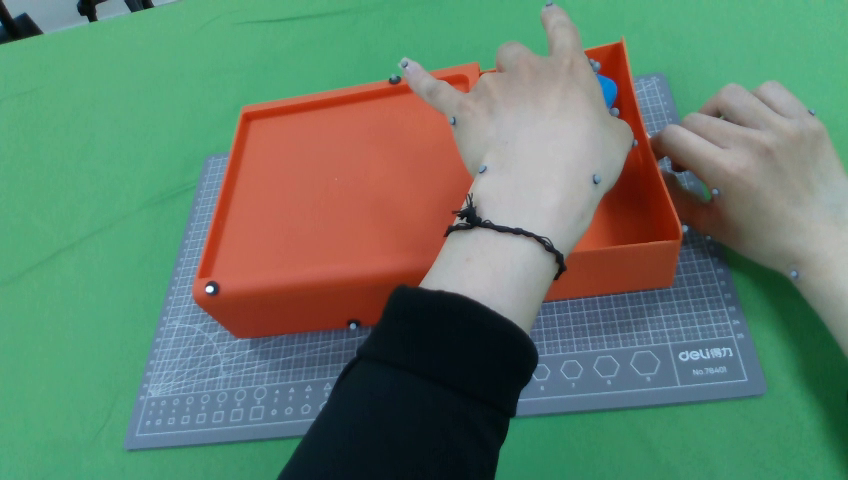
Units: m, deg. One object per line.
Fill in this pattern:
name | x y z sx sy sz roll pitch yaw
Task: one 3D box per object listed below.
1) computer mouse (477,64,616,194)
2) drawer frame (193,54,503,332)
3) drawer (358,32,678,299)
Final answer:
computer mouse | 0.084 -0.083 0.410 0.062 0.041 0.116 17 57 26
drawer frame | -0.049 -0.037 0.483 0.213 0.083 0.199 -8 55 12
drawer | 0.063 -0.053 0.462 0.211 0.074 0.192 -7 56 11
